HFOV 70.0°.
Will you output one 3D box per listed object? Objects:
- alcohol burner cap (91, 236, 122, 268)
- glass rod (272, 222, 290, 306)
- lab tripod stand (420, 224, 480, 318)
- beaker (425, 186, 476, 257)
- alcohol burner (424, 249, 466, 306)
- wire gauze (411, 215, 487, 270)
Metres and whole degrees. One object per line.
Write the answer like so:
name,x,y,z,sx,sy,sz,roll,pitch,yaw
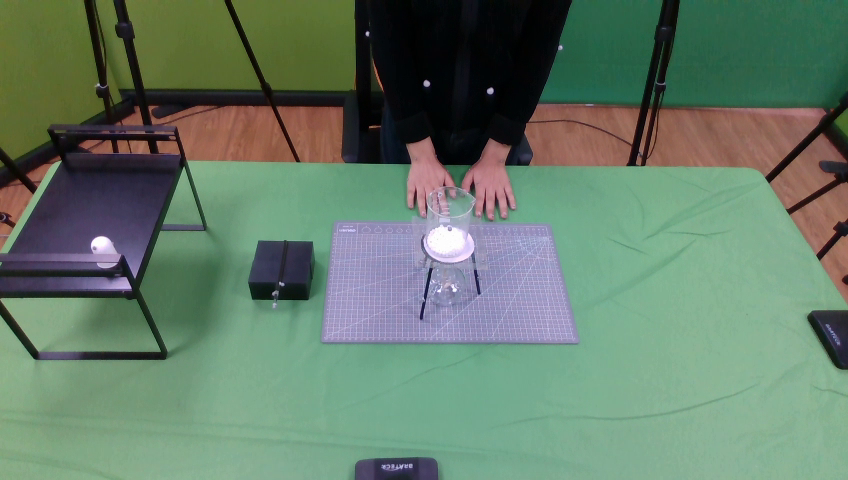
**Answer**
alcohol burner cap,-0.465,0.015,0.883,0.034,0.048,0.033,1,47,-1
glass rod,-0.255,0.039,1.084,0.008,0.008,0.198,1,46,-3
lab tripod stand,0.034,0.051,1.071,0.148,0.132,0.147,3,48,-3
beaker,0.041,-0.028,0.989,0.084,0.101,0.073,-12,48,-15
alcohol burner,0.038,0.061,1.075,0.078,0.120,0.077,2,45,-1
wire gauze,0.041,0.003,1.026,0.125,0.011,0.120,0,46,-2
